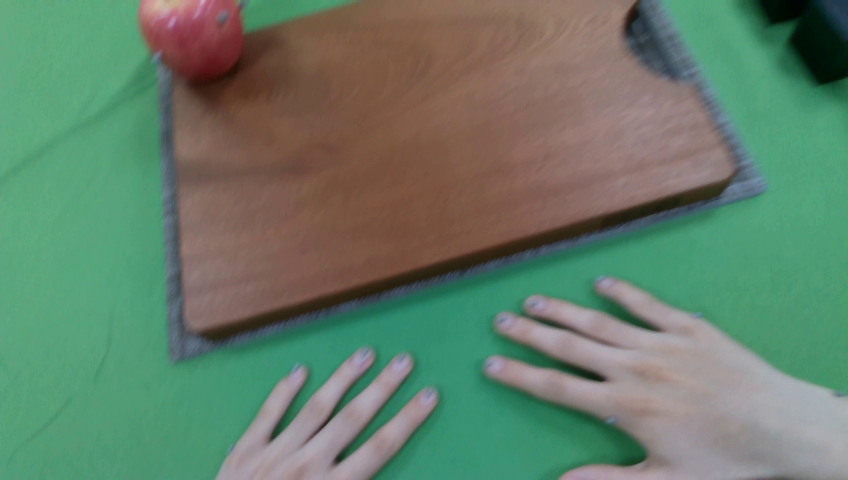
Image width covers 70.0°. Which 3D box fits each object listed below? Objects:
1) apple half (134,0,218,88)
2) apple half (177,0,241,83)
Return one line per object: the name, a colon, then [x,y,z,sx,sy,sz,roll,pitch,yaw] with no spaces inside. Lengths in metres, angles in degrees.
apple half: [-0.206,-0.166,0.500,0.053,0.075,0.080,-9,64,7]
apple half: [-0.167,-0.172,0.497,0.033,0.082,0.080,-10,62,7]
